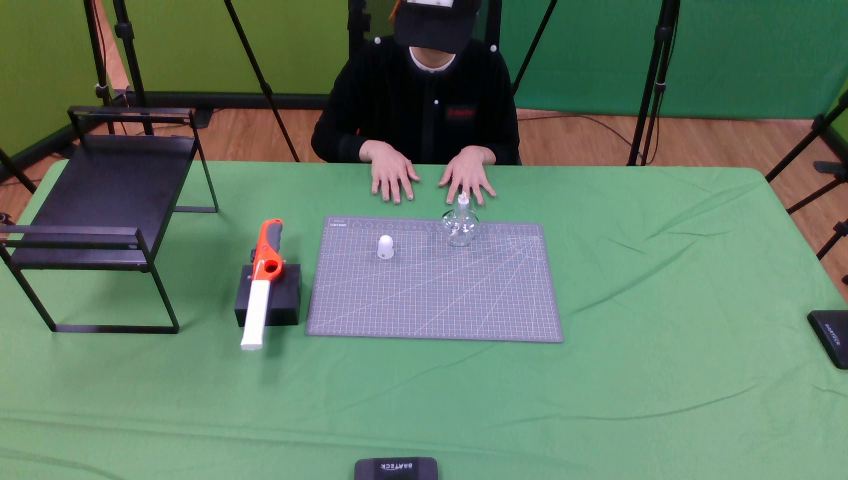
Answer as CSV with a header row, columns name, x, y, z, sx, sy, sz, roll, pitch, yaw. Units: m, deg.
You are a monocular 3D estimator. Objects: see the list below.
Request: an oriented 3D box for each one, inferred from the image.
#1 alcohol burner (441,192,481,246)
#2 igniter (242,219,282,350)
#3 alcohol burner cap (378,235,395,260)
name,x,y,z,sx,sy,sz,roll,pitch,yaw
alcohol burner,0.073,-0.046,1.176,0.078,0.119,0.077,2,44,-2
igniter,-0.277,0.065,1.044,0.057,0.025,0.274,1,48,-6
alcohol burner cap,-0.073,0.012,1.160,0.034,0.048,0.033,1,46,0
